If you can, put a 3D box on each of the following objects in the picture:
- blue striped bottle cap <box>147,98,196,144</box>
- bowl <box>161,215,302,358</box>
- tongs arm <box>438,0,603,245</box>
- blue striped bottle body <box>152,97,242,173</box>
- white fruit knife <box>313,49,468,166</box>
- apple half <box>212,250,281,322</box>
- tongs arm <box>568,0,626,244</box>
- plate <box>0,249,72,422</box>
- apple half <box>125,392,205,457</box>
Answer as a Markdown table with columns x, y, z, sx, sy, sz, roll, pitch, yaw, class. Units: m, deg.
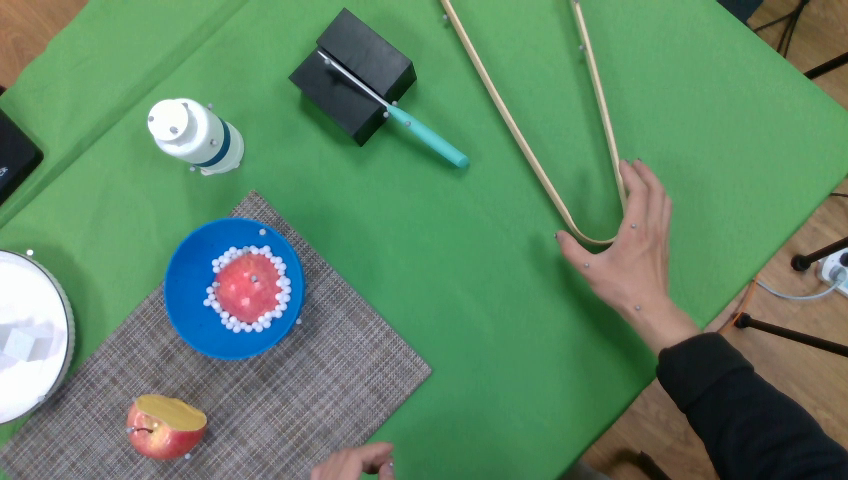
| x | y | z | sx | sy | sz | roll | pitch | yaw | class |
| --- | --- | --- | --- | --- | --- | --- | --- | --- | --- |
| -0.259 | -0.122 | 0.620 | 0.044 | 0.020 | 0.044 | 0 | 87 | 3 | blue striped bottle cap |
| -0.199 | 0.051 | 0.671 | 0.151 | 0.077 | 0.151 | 0 | 86 | 5 | bowl |
| 0.093 | -0.158 | 0.692 | 0.028 | 0.028 | 0.386 | -29 | 84 | 0 | tongs arm |
| -0.254 | -0.117 | 0.670 | 0.063 | 0.121 | 0.063 | 0 | 85 | 5 | blue striped bottle body |
| -0.036 | -0.145 | 0.671 | 0.208 | 0.027 | 0.016 | 35 | 107 | -10 | white fruit knife |
| -0.198 | 0.051 | 0.667 | 0.081 | 0.033 | 0.081 | -1 | 85 | 6 | apple half |
| 0.169 | -0.187 | 0.683 | 0.051 | 0.026 | 0.384 | -16 | 86 | 4 | tongs arm |
| -0.513 | 0.113 | 0.718 | 0.207 | 0.039 | 0.207 | 0 | 86 | 4 | plate |
| -0.290 | 0.209 | 0.671 | 0.081 | 0.074 | 0.053 | 25 | 92 | 3 | apple half |
